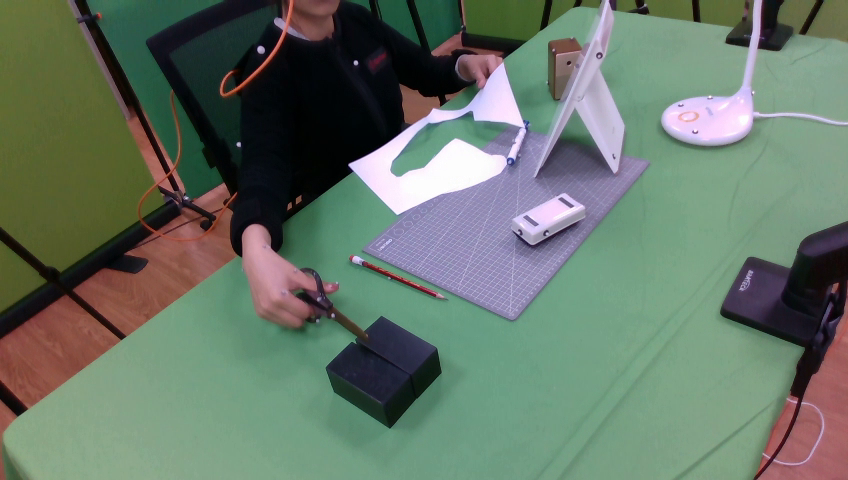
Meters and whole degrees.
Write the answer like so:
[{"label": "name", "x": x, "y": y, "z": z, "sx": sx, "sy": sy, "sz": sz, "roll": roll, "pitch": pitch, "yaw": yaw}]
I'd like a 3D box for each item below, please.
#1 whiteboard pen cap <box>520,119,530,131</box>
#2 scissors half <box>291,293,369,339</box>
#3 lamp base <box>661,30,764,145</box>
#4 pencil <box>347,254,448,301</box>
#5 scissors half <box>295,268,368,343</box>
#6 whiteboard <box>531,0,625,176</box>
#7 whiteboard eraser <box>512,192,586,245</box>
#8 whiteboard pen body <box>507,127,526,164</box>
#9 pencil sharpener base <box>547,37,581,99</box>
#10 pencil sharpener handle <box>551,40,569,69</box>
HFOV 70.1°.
[{"label": "whiteboard pen cap", "x": 0.199, "y": -0.226, "z": 1.205, "sx": 0.018, "sy": 0.018, "sz": 0.033, "roll": 7, "pitch": 41, "yaw": 18}, {"label": "scissors half", "x": -0.131, "y": 0.107, "z": 0.822, "sx": 0.013, "sy": 0.040, "sz": 0.173, "roll": 0, "pitch": 9, "yaw": -45}, {"label": "lamp base", "x": 0.535, "y": -0.287, "z": 1.096, "sx": 0.179, "sy": 0.181, "sz": 0.159, "roll": -10, "pitch": 40, "yaw": -4}, {"label": "pencil", "x": -0.044, "y": 0.058, "z": 0.933, "sx": 0.192, "sy": 0.012, "sz": 0.012, "roll": 22, "pitch": 49, "yaw": 29}, {"label": "scissors half", "x": -0.126, "y": 0.087, "z": 0.817, "sx": 0.013, "sy": 0.040, "sz": 0.173, "roll": -7, "pitch": 35, "yaw": -43}, {"label": "whiteboard", "x": 0.320, "y": -0.258, "z": 1.050, "sx": 0.144, "sy": 0.306, "sz": 0.217, "roll": 22, "pitch": 45, "yaw": 5}, {"label": "whiteboard eraser", "x": 0.199, "y": -0.032, "z": 0.962, "sx": 0.113, "sy": 0.042, "sz": 0.055, "roll": -27, "pitch": 43, "yaw": -20}, {"label": "whiteboard pen body", "x": 0.181, "y": -0.189, "z": 1.162, "sx": 0.017, "sy": 0.017, "sz": 0.140, "roll": 7, "pitch": 42, "yaw": 19}, {"label": "pencil sharpener base", "x": 0.300, "y": -0.368, "z": 1.290, "sx": 0.061, "sy": 0.107, "sz": 0.076, "roll": -8, "pitch": 40, "yaw": 2}, {"label": "pencil sharpener handle", "x": 0.291, "y": -0.409, "z": 1.320, "sx": 0.036, "sy": 0.068, "sz": 0.030, "roll": 2, "pitch": 40, "yaw": -6}]
